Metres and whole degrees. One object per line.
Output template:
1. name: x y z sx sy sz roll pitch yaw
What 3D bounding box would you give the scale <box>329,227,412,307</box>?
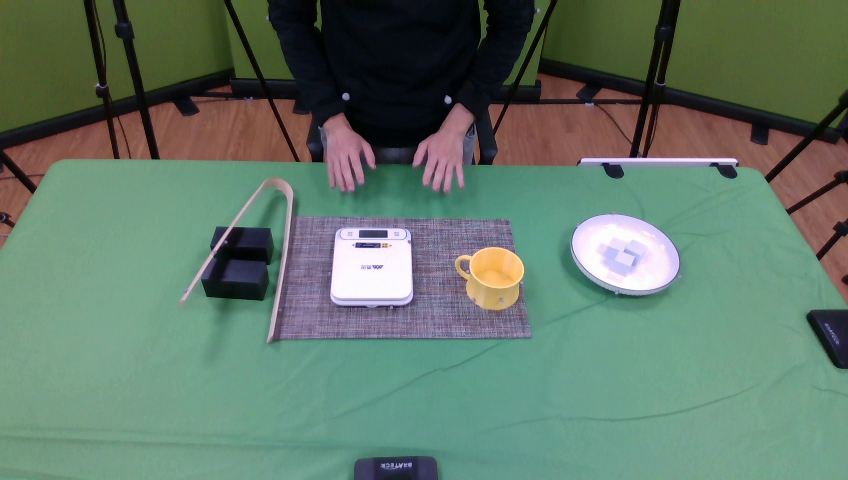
1. scale: -0.099 0.042 1.139 0.149 0.032 0.199 1 46 -4

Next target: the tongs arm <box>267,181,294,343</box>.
1. tongs arm: -0.273 0.027 1.144 0.028 0.028 0.385 17 42 -22

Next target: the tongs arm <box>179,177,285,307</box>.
1. tongs arm: -0.342 -0.008 1.118 0.051 0.026 0.382 29 38 -14

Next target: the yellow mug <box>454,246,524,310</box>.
1. yellow mug: 0.115 0.064 1.111 0.130 0.064 0.099 21 49 17

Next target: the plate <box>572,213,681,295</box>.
1. plate: 0.392 0.030 1.189 0.208 0.039 0.206 2 46 -2
